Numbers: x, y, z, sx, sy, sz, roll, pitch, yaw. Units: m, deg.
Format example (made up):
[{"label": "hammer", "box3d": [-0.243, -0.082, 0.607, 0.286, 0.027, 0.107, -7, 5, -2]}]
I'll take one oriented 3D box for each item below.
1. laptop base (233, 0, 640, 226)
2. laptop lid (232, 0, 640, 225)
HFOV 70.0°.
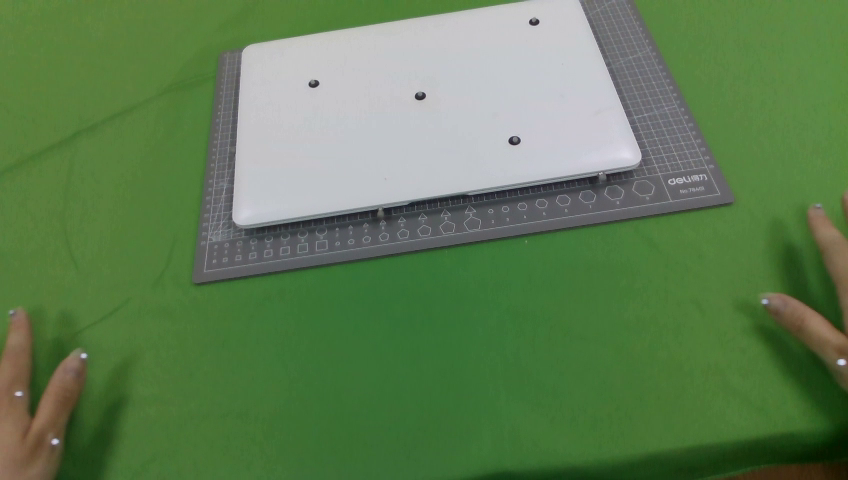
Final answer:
[{"label": "laptop base", "box3d": [-0.002, -0.130, 0.579, 0.354, 0.023, 0.233, -9, 60, 0]}, {"label": "laptop lid", "box3d": [-0.003, -0.135, 0.568, 0.357, 0.013, 0.239, -7, 58, 1]}]
